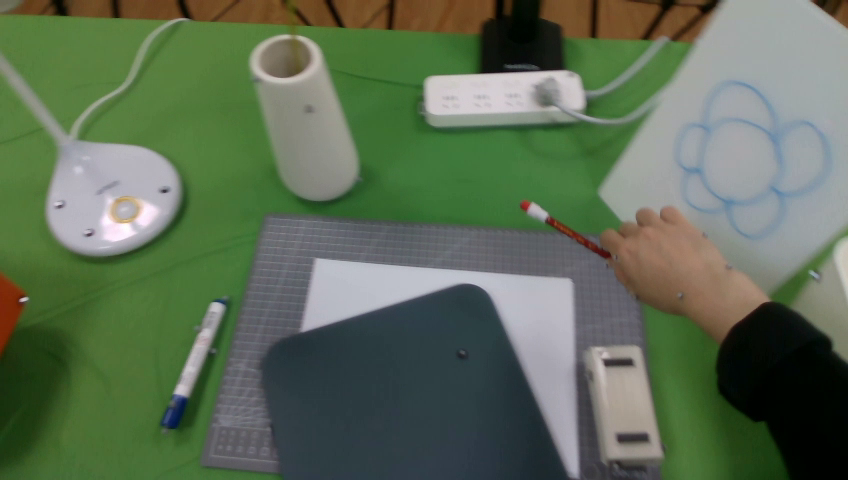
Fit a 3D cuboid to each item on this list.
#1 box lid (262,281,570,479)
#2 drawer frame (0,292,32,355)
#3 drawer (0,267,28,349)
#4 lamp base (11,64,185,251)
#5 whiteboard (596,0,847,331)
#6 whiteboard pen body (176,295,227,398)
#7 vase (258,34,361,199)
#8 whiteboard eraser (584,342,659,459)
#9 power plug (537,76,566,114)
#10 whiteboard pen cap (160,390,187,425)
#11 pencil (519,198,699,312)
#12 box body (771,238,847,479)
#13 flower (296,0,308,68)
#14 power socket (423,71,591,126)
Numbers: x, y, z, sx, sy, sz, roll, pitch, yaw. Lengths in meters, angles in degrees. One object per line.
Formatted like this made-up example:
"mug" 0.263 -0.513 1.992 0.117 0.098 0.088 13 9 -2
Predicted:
"box lid" 0.000 0.225 0.589 0.263 0.015 0.368 -16 62 -8
"drawer frame" -0.537 0.108 0.576 0.213 0.083 0.200 7 61 3
"drawer" -0.531 0.107 0.575 0.211 0.074 0.193 7 61 5
"lamp base" -0.389 -0.102 0.687 0.178 0.182 0.160 34 65 22
"whiteboard" 0.365 -0.087 0.630 0.144 0.307 0.215 -15 58 -29
"whiteboard pen body" -0.241 0.121 0.646 0.017 0.017 0.139 8 57 6
"vase" -0.131 -0.134 0.691 0.098 0.201 0.097 -1 59 2
"whiteboard eraser" 0.195 0.159 0.604 0.055 0.042 0.111 -1 60 -1
"power plug" 0.163 -0.179 0.781 0.035 0.053 0.072 8 62 6
"whiteboard pen cap" -0.253 0.169 0.615 0.018 0.018 0.033 8 55 6
"pencil" 0.173 0.013 0.576 0.193 0.012 0.012 34 66 14
"box body" 0.475 0.195 0.512 0.254 0.162 0.361 4 60 3
"flower" -0.124 -0.191 0.629 0.038 0.365 0.043 -6 42 -10
"power socket" 0.112 -0.191 0.815 0.227 0.033 0.071 -1 61 0
